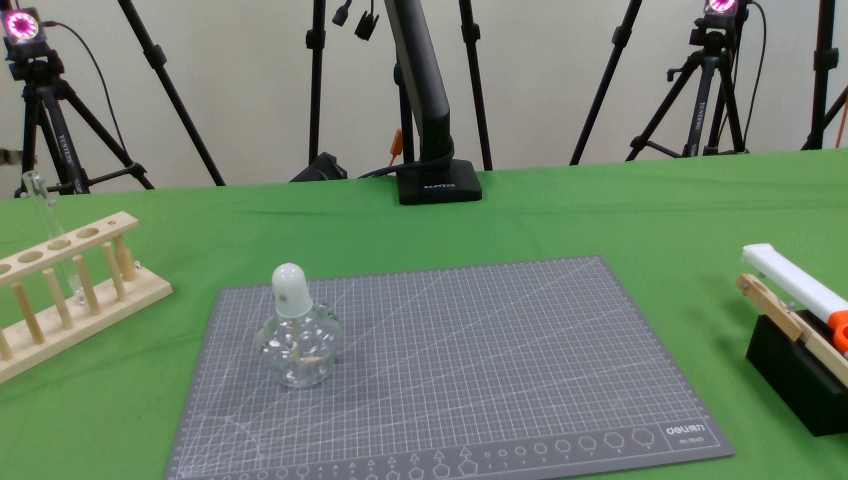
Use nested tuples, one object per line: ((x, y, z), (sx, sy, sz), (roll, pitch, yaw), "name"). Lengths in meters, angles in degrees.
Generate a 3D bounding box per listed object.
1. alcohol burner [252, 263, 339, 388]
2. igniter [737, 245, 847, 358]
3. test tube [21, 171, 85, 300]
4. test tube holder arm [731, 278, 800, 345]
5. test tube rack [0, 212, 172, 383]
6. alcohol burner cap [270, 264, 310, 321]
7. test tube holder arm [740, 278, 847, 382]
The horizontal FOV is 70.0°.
((-0.116, 0.073, 0.544), (0.078, 0.120, 0.077), (-1, 30, 1), "alcohol burner")
((0.366, 0.075, 0.524), (0.057, 0.025, 0.274), (-5, 28, -7), "igniter")
((-0.370, 0.000, 0.610), (0.017, 0.151, 0.017), (0, 34, 0), "test tube")
((0.312, 0.064, 0.552), (0.010, 0.015, 0.087), (-7, 31, -9), "test tube holder arm")
((-0.387, 0.064, 0.600), (0.066, 0.086, 0.242), (22, 38, 33), "test tube rack")
((-0.118, 0.043, 0.525), (0.034, 0.048, 0.033), (-2, 35, 2), "alcohol burner cap")
((0.328, 0.085, 0.515), (0.013, 0.015, 0.176), (-8, 31, -11), "test tube holder arm")
